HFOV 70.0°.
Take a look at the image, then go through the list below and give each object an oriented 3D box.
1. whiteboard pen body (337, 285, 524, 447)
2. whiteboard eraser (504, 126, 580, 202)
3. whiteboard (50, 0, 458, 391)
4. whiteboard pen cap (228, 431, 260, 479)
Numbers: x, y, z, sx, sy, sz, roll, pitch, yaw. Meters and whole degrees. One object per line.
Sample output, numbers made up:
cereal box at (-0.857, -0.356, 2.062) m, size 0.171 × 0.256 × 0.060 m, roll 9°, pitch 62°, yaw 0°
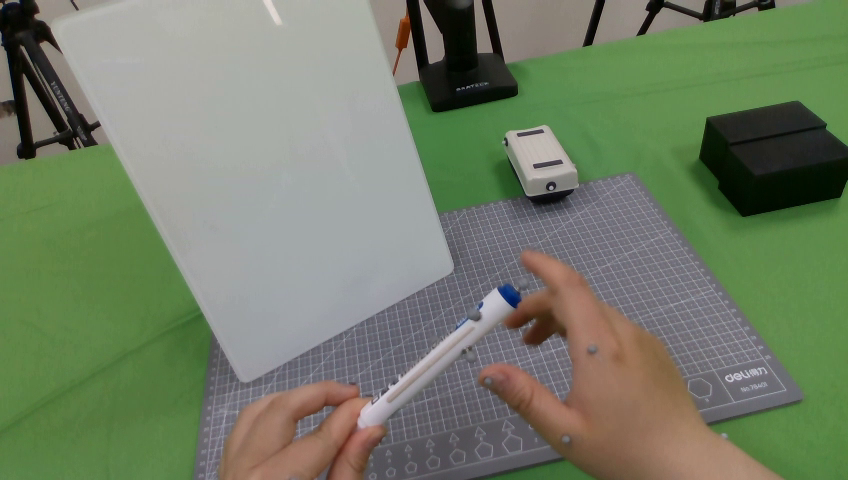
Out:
whiteboard pen body at (0.000, 0.074, 0.339) m, size 0.141 × 0.017 × 0.017 m, roll -43°, pitch 41°, yaw 13°
whiteboard eraser at (0.126, -0.083, 0.659) m, size 0.055 × 0.042 × 0.111 m, roll -12°, pitch 38°, yaw 0°
whiteboard at (-0.132, -0.069, 0.537) m, size 0.217 × 0.308 × 0.142 m, roll -27°, pitch 25°, yaw -18°
whiteboard pen cap at (-0.134, 0.160, 0.448) m, size 0.018 × 0.018 × 0.033 m, roll 0°, pitch 59°, yaw 11°
